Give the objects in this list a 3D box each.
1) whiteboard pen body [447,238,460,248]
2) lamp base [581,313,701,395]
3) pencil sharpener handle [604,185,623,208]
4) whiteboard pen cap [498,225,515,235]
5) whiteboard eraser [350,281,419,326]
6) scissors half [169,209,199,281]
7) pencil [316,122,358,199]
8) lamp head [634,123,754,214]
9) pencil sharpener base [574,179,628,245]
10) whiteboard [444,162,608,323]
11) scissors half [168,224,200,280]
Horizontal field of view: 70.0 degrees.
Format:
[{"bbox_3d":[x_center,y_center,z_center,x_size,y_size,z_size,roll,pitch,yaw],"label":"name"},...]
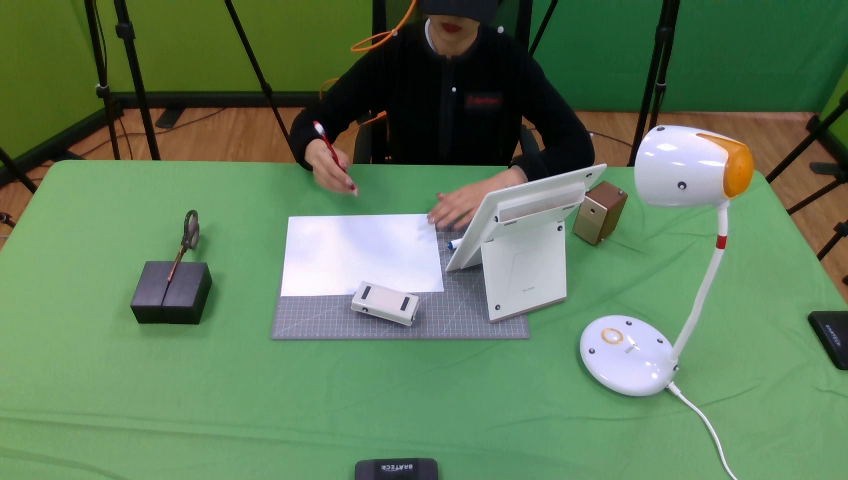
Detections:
[{"bbox_3d":[0.112,-0.005,1.203,0.141,0.017,0.017,-14,49,-18],"label":"whiteboard pen body"},{"bbox_3d":[0.361,0.144,0.972,0.178,0.181,0.160,34,53,23],"label":"lamp base"},{"bbox_3d":[0.390,-0.092,1.235,0.030,0.068,0.036,-34,70,-31],"label":"pencil sharpener handle"},{"bbox_3d":[0.166,-0.019,1.222,0.033,0.018,0.018,-14,49,-19],"label":"whiteboard pen cap"},{"bbox_3d":[-0.069,0.113,1.065,0.112,0.042,0.055,14,46,9],"label":"whiteboard eraser"},{"bbox_3d":[-0.438,0.007,1.098,0.013,0.040,0.174,3,48,-3],"label":"scissors half"},{"bbox_3d":[-0.164,-0.151,1.141,0.012,0.012,0.193,-20,64,-21],"label":"pencil"},{"bbox_3d":[0.351,-0.089,0.776,0.112,0.113,0.122,-30,30,-28],"label":"lamp head"},{"bbox_3d":[0.355,-0.057,1.217,0.076,0.107,0.061,-33,56,-31],"label":"pencil sharpener base"},{"bbox_3d":[0.186,0.025,1.029,0.217,0.306,0.143,-14,68,-18],"label":"whiteboard"},{"bbox_3d":[-0.440,0.023,1.111,0.013,0.040,0.174,7,29,-6],"label":"scissors half"}]
